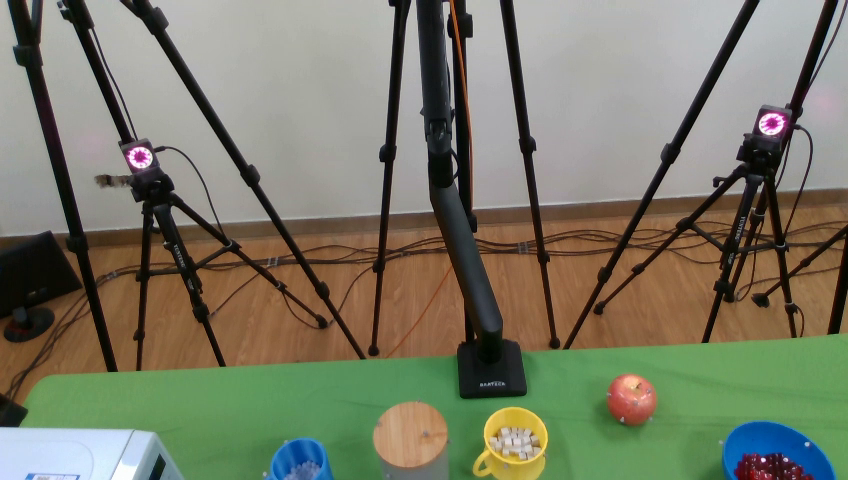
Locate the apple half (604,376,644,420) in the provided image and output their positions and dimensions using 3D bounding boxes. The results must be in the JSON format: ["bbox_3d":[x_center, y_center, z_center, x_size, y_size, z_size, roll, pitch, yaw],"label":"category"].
[{"bbox_3d":[0.322,0.269,1.002,0.033,0.082,0.080,-22,43,-26],"label":"apple half"}]

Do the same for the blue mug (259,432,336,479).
[{"bbox_3d":[-0.196,0.362,0.917,0.117,0.107,0.081,-20,43,-17],"label":"blue mug"}]

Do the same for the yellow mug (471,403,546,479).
[{"bbox_3d":[0.129,0.326,0.962,0.131,0.064,0.099,-25,45,-21],"label":"yellow mug"}]

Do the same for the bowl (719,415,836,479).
[{"bbox_3d":[0.509,0.345,0.895,0.151,0.077,0.150,-3,41,3],"label":"bowl"}]

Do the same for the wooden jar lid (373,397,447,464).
[{"bbox_3d":[-0.021,0.280,0.885,0.108,0.021,0.107,-3,38,3],"label":"wooden jar lid"}]

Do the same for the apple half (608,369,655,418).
[{"bbox_3d":[0.354,0.254,1.019,0.053,0.075,0.080,-21,39,-26],"label":"apple half"}]

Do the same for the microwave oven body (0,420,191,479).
[{"bbox_3d":[-0.504,0.465,0.699,0.326,0.262,0.437,0,41,4],"label":"microwave oven body"}]

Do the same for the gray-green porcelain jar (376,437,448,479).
[{"bbox_3d":[-0.017,0.328,0.926,0.106,0.127,0.105,-2,41,2],"label":"gray-green porcelain jar"}]
